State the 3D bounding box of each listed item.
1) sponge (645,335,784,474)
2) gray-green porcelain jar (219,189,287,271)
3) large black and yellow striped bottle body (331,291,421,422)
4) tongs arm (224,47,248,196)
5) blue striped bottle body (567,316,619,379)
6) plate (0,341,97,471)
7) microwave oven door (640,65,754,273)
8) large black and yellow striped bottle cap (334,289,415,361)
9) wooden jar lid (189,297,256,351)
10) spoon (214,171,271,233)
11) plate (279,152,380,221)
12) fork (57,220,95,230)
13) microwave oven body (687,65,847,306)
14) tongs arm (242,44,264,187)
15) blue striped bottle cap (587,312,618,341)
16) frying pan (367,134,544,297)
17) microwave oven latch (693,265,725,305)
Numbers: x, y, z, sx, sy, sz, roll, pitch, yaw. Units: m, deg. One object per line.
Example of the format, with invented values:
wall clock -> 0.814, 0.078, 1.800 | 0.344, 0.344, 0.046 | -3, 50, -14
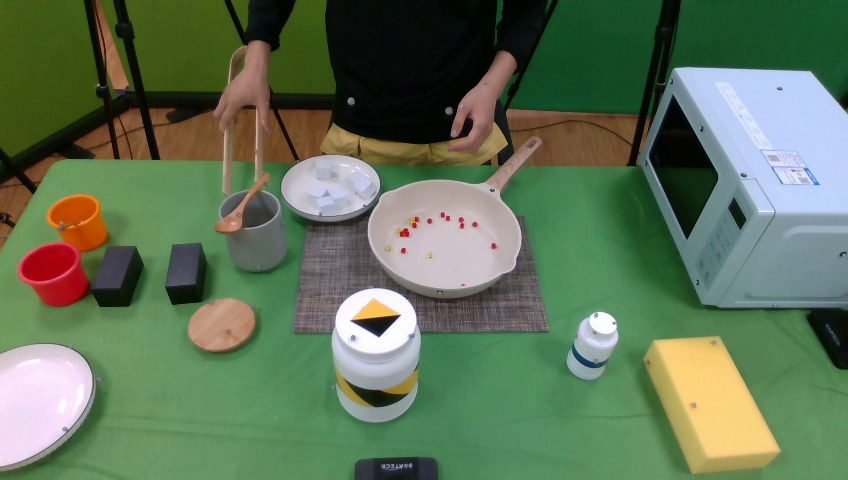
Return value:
sponge -> 0.449, 0.253, 0.956 | 0.118, 0.061, 0.205 | -4, 46, -7
gray-green porcelain jar -> -0.310, -0.014, 1.114 | 0.106, 0.127, 0.105 | 2, 46, -2
large black and yellow striped bottle body -> -0.071, 0.175, 0.911 | 0.131, 0.185, 0.130 | 2, 47, -2
tongs arm -> -0.405, -0.262, 1.298 | 0.028, 0.028, 0.385 | -15, 61, 18
blue striped bottle body -> 0.276, 0.168, 0.984 | 0.063, 0.121, 0.062 | 2, 46, -2
plate -> -0.599, 0.247, 0.904 | 0.209, 0.038, 0.208 | 2, 47, -2
microwave oven door -> 0.523, -0.147, 1.193 | 0.039, 0.245, 0.353 | 0, 47, -3
large black and yellow striped bottle cap -> -0.069, 0.117, 0.850 | 0.115, 0.019, 0.114 | 2, 45, -2
wooden jar lid -> -0.342, 0.145, 1.033 | 0.108, 0.021, 0.107 | 2, 45, -2
spoon -> -0.312, -0.070, 1.070 | 0.041, 0.022, 0.193 | 9, 43, 10
plate -> -0.196, -0.107, 1.269 | 0.208, 0.039, 0.206 | 2, 45, -2
fork -> -0.624, -0.027, 1.086 | 0.028, 0.207, 0.018 | -2, 91, -17
microwave oven body -> 0.669, -0.111, 1.176 | 0.326, 0.261, 0.439 | 0, 46, -3
tongs arm -> -0.366, -0.273, 1.289 | 0.051, 0.027, 0.382 | -15, 61, 15
blue striped bottle cap -> 0.279, 0.134, 0.946 | 0.044, 0.021, 0.044 | 2, 45, -2
frying pan -> 0.104, -0.068, 1.205 | 0.305, 0.103, 0.487 | 32, 61, 23
microwave oven latch -> 0.523, 0.081, 1.116 | 0.030, 0.029, 0.078 | 2, 46, -1
